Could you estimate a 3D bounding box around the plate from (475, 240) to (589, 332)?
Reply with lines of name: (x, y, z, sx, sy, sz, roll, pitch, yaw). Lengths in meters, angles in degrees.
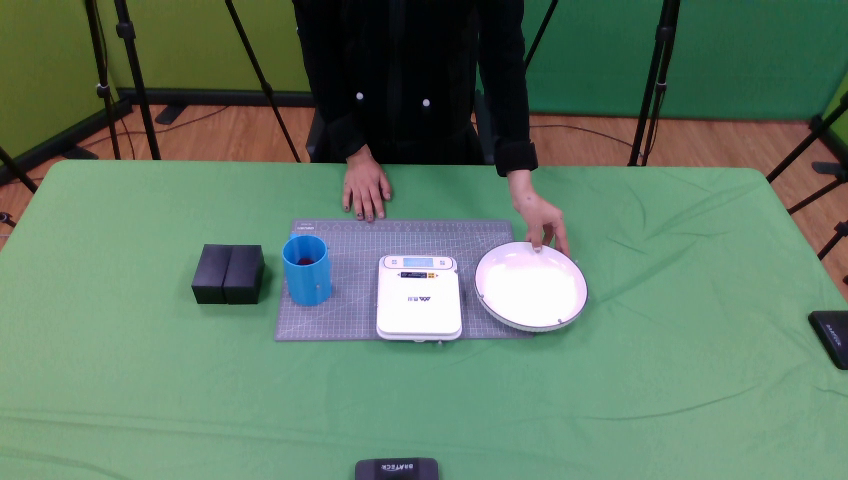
plate: (0.195, 0.087, 1.112, 0.209, 0.038, 0.208, 2, 47, -2)

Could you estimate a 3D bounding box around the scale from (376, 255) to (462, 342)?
scale: (-0.010, 0.096, 1.094, 0.149, 0.032, 0.199, 2, 46, -3)

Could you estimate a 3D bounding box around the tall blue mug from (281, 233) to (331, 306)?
tall blue mug: (-0.218, 0.046, 1.073, 0.107, 0.108, 0.077, 28, 52, 21)
